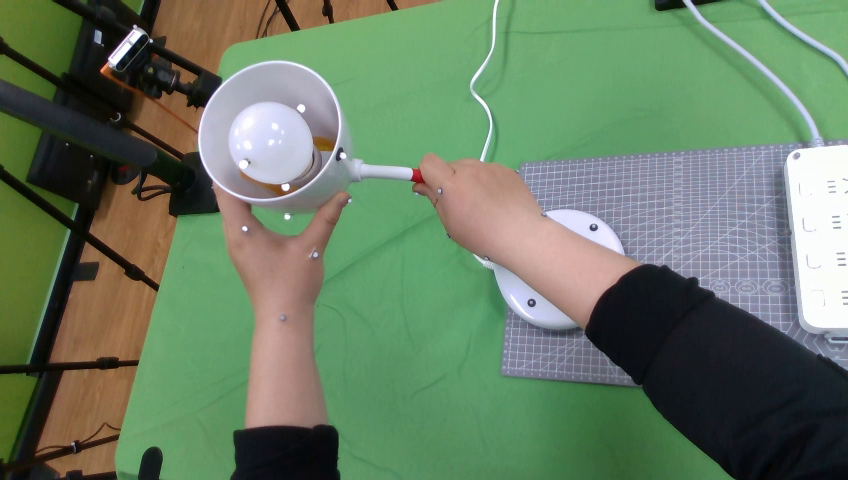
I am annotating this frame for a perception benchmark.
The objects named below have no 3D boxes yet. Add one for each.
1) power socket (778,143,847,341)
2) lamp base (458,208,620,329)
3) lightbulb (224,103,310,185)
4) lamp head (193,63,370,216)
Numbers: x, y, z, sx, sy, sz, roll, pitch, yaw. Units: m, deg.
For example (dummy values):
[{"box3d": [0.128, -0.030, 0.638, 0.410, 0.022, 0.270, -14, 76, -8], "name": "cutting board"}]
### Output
[{"box3d": [0.434, -0.005, 0.656, 0.072, 0.033, 0.225, -2, 68, 22], "name": "power socket"}, {"box3d": [0.123, 0.008, 0.705, 0.178, 0.182, 0.159, -8, 66, 25], "name": "lamp base"}, {"box3d": [-0.115, -0.068, 0.475, 0.059, 0.108, 0.059, -1, 83, 6], "name": "lightbulb"}, {"box3d": [-0.106, -0.068, 0.499, 0.112, 0.124, 0.112, -3, 76, 13], "name": "lamp head"}]
